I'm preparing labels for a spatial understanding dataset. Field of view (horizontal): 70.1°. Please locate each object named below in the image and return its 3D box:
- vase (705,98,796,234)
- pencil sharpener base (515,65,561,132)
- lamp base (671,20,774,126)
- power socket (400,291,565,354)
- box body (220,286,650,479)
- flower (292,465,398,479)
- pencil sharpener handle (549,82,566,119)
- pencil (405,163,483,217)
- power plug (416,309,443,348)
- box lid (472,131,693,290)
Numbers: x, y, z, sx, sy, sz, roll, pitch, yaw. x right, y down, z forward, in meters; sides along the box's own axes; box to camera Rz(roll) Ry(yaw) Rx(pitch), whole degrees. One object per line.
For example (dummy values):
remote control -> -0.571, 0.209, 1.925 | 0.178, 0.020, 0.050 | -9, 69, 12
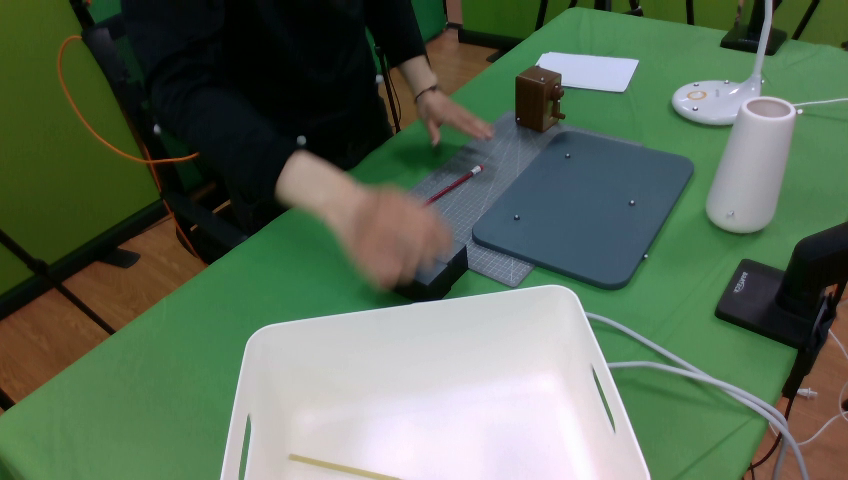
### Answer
vase -> 0.480, -0.104, 0.888 | 0.098, 0.201, 0.097 | -4, 42, 4
pencil sharpener base -> 0.227, -0.278, 1.195 | 0.076, 0.107, 0.061 | 30, 52, 35
lamp base -> 0.581, -0.332, 1.154 | 0.179, 0.181, 0.160 | 2, 42, 7
power socket -> 0.079, 0.111, 0.823 | 0.227, 0.033, 0.072 | -5, 41, 1
box body -> 0.006, 0.210, 0.618 | 0.364, 0.161, 0.252 | -8, 40, -1
flower -> 0.015, 0.270, 0.651 | 0.360, 0.038, 0.044 | 2, 30, 17
pencil sharpener handle -> 0.261, -0.266, 1.157 | 0.030, 0.068, 0.036 | 30, 46, 35
pencil -> 0.038, -0.089, 1.078 | 0.195, 0.012, 0.012 | -35, 48, -27
power plug -> 0.004, 0.121, 0.787 | 0.035, 0.053, 0.072 | 2, 46, 8
box lid -> 0.273, -0.068, 1.020 | 0.261, 0.015, 0.372 | 20, 47, 28
